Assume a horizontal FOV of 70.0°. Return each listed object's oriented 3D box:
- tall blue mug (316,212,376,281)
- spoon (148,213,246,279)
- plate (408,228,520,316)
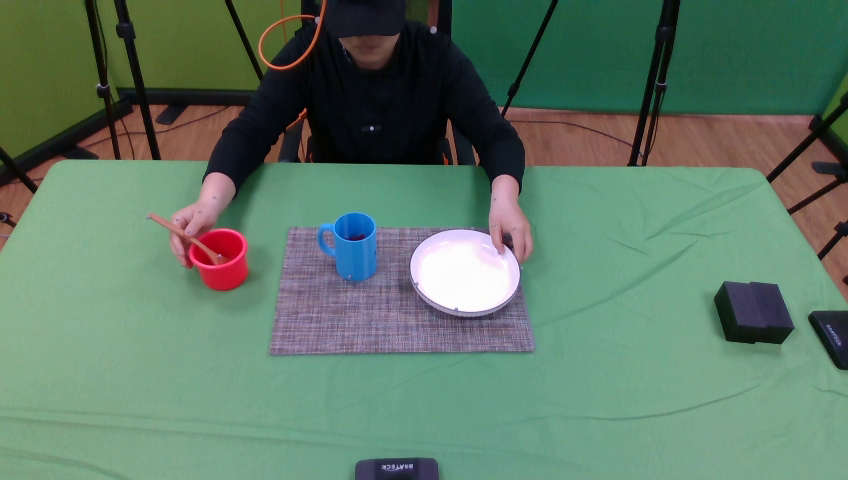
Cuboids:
[{"bbox_3d":[-0.142,0.014,1.109,0.107,0.108,0.077,-5,48,-8],"label":"tall blue mug"},{"bbox_3d":[-0.400,0.009,1.076,0.194,0.021,0.041,42,35,-25],"label":"spoon"},{"bbox_3d":[0.073,0.062,1.128,0.208,0.039,0.206,2,46,-2],"label":"plate"}]
